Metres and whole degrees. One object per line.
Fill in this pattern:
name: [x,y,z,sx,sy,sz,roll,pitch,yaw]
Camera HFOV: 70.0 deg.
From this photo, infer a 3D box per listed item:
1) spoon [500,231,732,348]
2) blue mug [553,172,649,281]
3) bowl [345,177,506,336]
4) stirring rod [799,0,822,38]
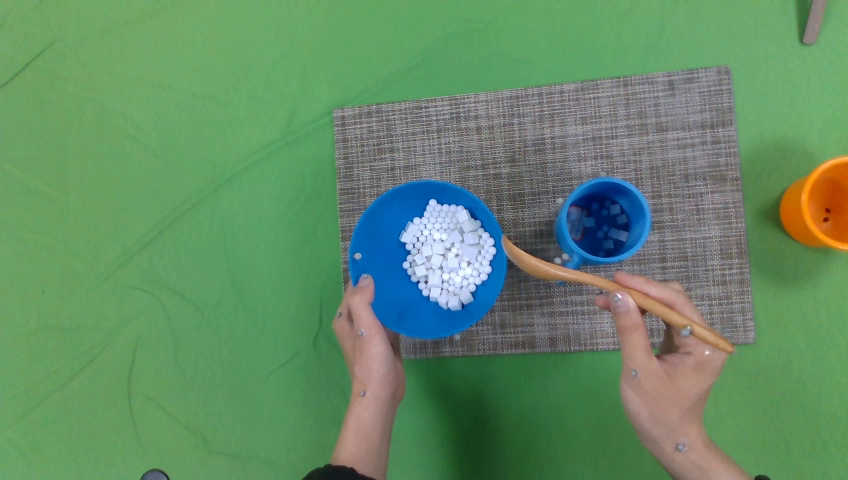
spoon: [0.132,0.032,0.449,0.192,0.042,0.021,22,77,38]
blue mug: [0.169,-0.007,0.624,0.082,0.106,0.116,34,93,9]
bowl: [0.002,0.017,0.602,0.151,0.077,0.151,0,88,0]
stirring rod: [0.415,-0.301,0.622,0.014,0.006,0.177,4,110,3]
